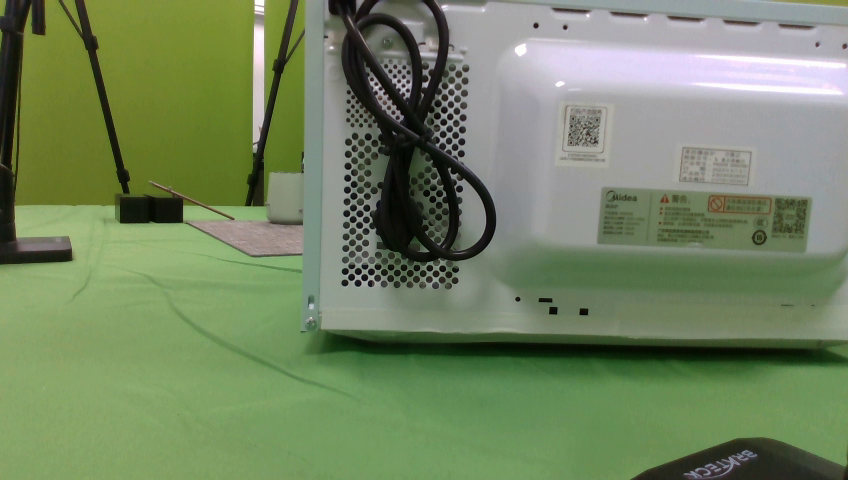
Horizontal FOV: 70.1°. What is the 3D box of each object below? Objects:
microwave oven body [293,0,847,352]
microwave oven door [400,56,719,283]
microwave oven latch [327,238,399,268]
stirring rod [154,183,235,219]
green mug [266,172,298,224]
[{"bbox_3d":[0.122,-0.055,0.550,0.442,0.260,0.325,3,7,-5],"label":"microwave oven body"},{"bbox_3d":[0.155,-0.077,0.697,0.356,0.243,0.039,2,8,-5],"label":"microwave oven door"},{"bbox_3d":[-0.069,0.015,0.694,0.079,0.029,0.030,3,7,-3],"label":"microwave oven latch"},{"bbox_3d":[-0.472,-0.079,1.252,0.177,0.006,0.014,27,4,-35],"label":"stirring rod"},{"bbox_3d":[-0.272,-0.089,1.271,0.092,0.105,0.126,7,8,33],"label":"green mug"}]
